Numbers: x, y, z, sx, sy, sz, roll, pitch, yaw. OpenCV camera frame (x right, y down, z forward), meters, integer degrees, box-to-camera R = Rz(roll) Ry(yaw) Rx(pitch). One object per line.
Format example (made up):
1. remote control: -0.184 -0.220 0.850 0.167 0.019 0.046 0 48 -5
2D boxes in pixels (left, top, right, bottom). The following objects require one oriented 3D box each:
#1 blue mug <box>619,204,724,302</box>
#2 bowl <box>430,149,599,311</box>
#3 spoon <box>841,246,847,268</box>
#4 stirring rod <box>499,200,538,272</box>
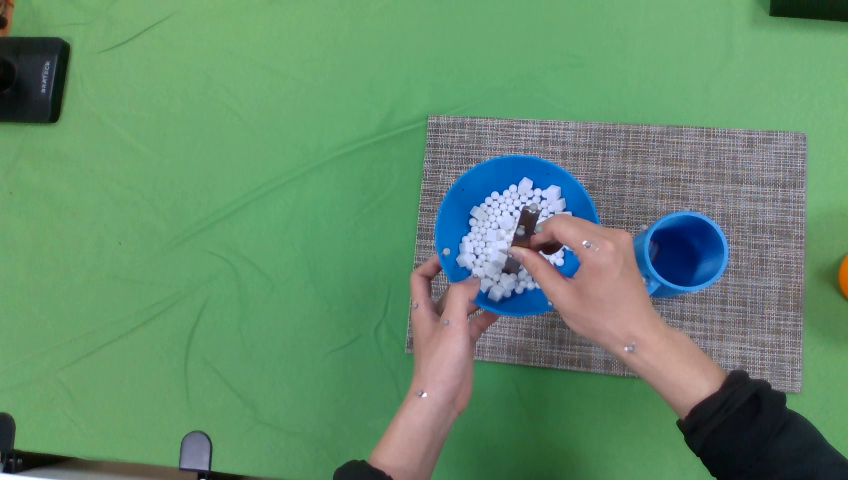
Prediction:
1. blue mug: 0.256 0.024 0.661 0.082 0.106 0.116 43 90 11
2. bowl: 0.083 -0.003 0.580 0.151 0.077 0.151 0 80 2
3. spoon: 0.530 0.035 0.609 0.022 0.192 0.041 30 85 -34
4. stirring rod: 0.077 0.002 0.507 0.014 0.177 0.006 13 73 6
